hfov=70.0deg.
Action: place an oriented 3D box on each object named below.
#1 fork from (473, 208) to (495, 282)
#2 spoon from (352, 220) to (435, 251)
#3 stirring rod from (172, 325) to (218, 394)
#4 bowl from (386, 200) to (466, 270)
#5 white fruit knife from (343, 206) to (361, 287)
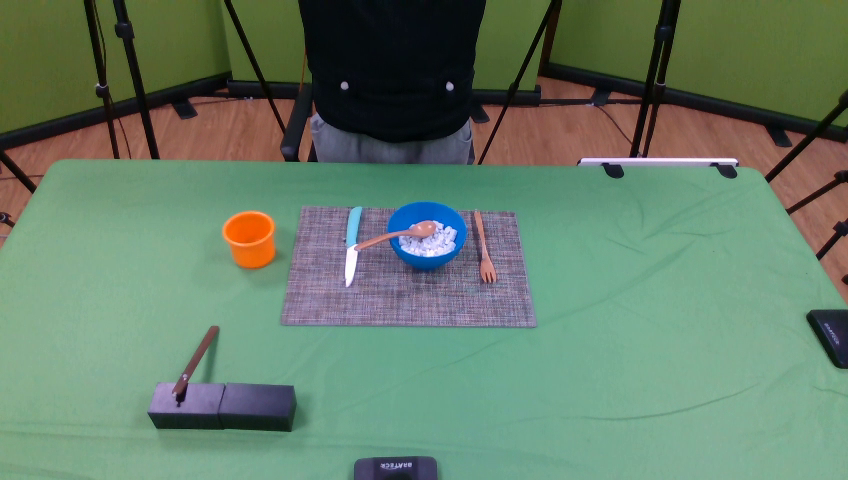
[{"bbox_3d":[0.115,0.007,1.196,0.028,0.019,0.206,-7,48,2],"label":"fork"},{"bbox_3d":[-0.054,-0.009,1.109,0.194,0.022,0.041,-14,40,-42],"label":"spoon"},{"bbox_3d":[-0.360,0.185,0.962,0.014,0.006,0.175,0,26,1],"label":"stirring rod"},{"bbox_3d":[0.001,0.003,1.150,0.151,0.077,0.150,2,46,-2],"label":"bowl"},{"bbox_3d":[-0.143,0.010,1.175,0.027,0.016,0.206,-6,47,6],"label":"white fruit knife"}]
